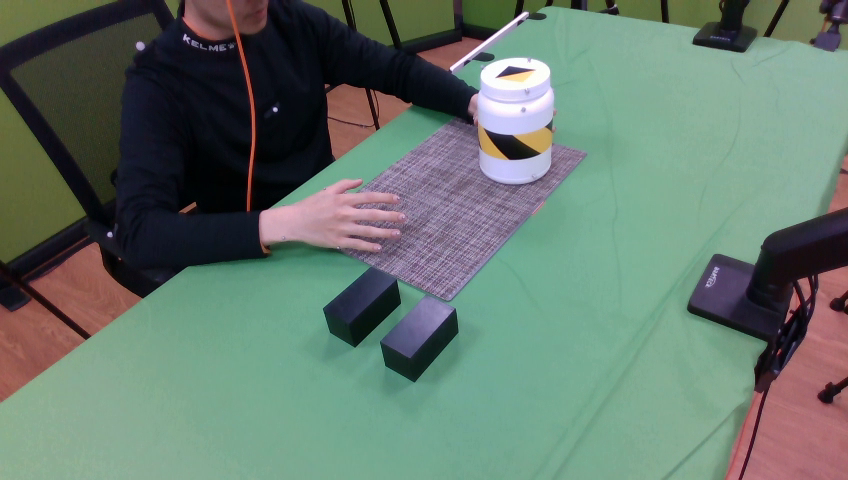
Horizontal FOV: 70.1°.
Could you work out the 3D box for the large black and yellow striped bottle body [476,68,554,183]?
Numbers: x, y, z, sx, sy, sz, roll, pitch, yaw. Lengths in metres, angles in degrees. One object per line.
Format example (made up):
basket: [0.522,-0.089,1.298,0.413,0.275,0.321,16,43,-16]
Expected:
large black and yellow striped bottle body: [0.159,-0.206,1.054,0.131,0.185,0.130,-4,41,4]

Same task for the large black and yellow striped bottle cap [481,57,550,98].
large black and yellow striped bottle cap: [0.151,-0.270,1.001,0.115,0.019,0.114,-4,42,4]
